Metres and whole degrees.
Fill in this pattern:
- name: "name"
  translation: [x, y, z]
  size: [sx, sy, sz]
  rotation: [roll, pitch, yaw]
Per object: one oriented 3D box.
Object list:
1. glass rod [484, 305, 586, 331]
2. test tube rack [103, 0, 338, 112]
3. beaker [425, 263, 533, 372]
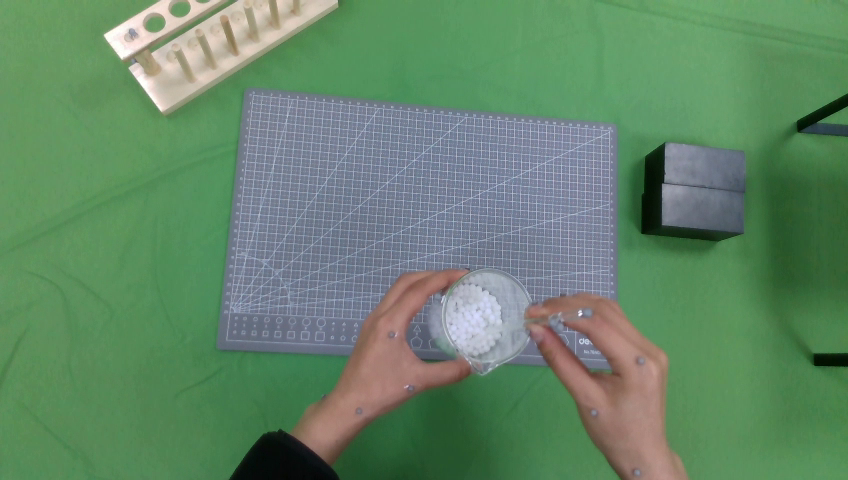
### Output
- name: "glass rod"
  translation: [0.075, 0.061, 0.452]
  size: [0.008, 0.200, 0.008]
  rotation: [2, 78, -11]
- name: "test tube rack"
  translation: [-0.214, -0.248, 0.671]
  size: [0.242, 0.085, 0.066]
  rotation: [-37, 86, -11]
- name: "beaker"
  translation: [0.041, 0.066, 0.509]
  size: [0.074, 0.100, 0.083]
  rotation: [8, 80, -6]
